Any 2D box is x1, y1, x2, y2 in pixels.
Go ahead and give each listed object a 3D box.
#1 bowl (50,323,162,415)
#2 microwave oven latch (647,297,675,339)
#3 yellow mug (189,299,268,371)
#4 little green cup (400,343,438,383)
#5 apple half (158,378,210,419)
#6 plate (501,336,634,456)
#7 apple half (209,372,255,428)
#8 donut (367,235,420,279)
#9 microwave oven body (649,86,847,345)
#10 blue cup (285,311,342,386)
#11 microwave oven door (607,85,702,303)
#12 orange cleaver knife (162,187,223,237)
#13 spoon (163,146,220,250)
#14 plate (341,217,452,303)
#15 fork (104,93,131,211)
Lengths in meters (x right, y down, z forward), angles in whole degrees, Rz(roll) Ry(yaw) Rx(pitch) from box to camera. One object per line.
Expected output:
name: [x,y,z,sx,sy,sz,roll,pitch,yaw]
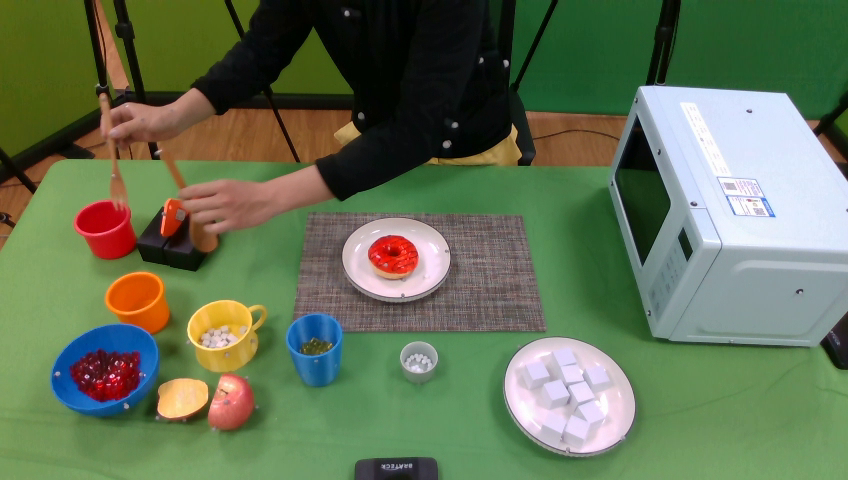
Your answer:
bowl: [-0.472,0.209,0.924,0.151,0.077,0.150,2,45,-2]
microwave oven latch: [0.413,0.134,1.061,0.030,0.029,0.078,5,45,2]
yellow mug: [-0.316,0.148,1.001,0.131,0.064,0.099,-32,56,-31]
little green cup: [-0.010,0.202,0.991,0.061,0.039,0.061,2,46,-2]
apple half: [-0.366,0.247,0.926,0.081,0.033,0.081,8,31,-5]
plate: [0.225,0.249,0.964,0.208,0.039,0.206,2,46,-2]
apple half: [-0.282,0.243,0.908,0.053,0.075,0.080,8,42,-2]
donut: [-0.056,0.032,1.131,0.099,0.048,0.098,3,45,-3]
microwave oven body: [0.568,-0.053,1.118,0.326,0.261,0.439,2,45,-1]
blue cup: [-0.170,0.180,0.958,0.093,0.101,0.092,2,44,-1]
microwave oven door: [0.423,-0.094,1.140,0.039,0.245,0.353,2,46,-1]
orange cleaver knife: [-0.447,-0.058,1.180,0.012,0.077,0.211,10,17,7]
spoon: [-0.367,-0.063,0.958,0.021,0.195,0.041,20,46,30]
plate: [-0.052,0.039,1.140,0.209,0.038,0.208,2,46,-2]
fork: [-0.546,-0.155,1.074,0.028,0.208,0.018,-12,19,-36]
